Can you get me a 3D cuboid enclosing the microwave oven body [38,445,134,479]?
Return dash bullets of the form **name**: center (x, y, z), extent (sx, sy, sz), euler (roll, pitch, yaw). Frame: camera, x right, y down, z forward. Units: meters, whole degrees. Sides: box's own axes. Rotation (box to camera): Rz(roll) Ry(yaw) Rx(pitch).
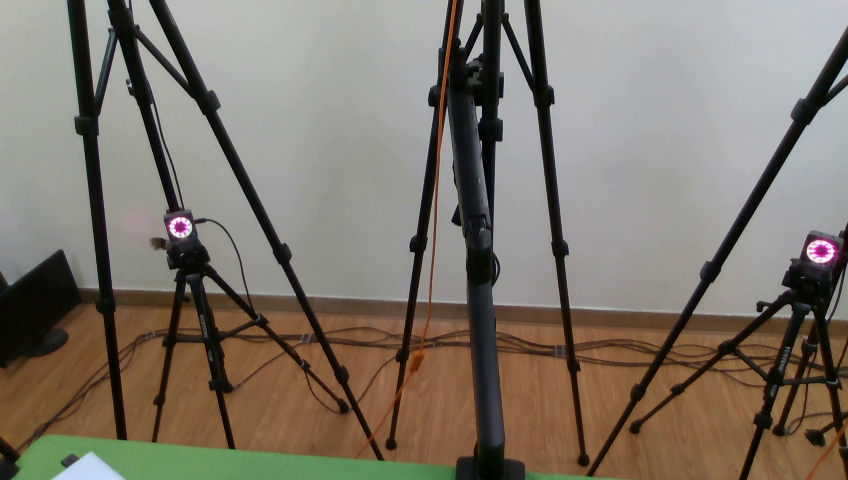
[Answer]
- **microwave oven body**: center (-0.455, 0.513, 0.668), extent (0.323, 0.262, 0.441), euler (19, 39, 29)
